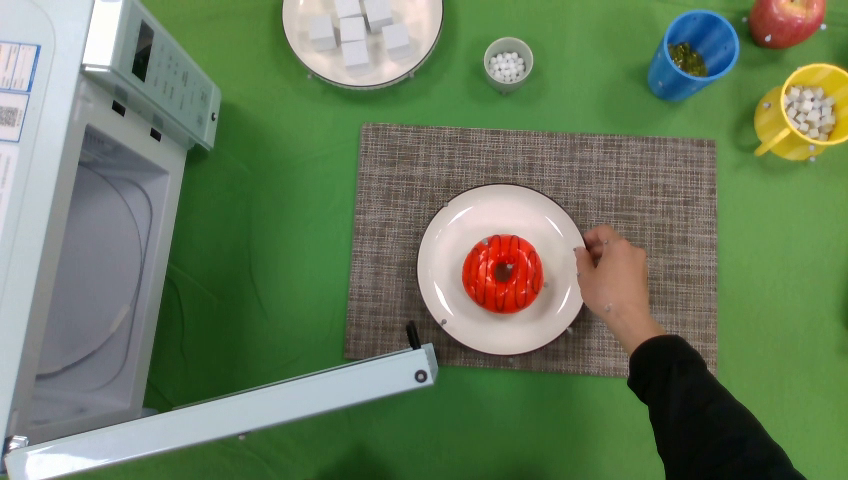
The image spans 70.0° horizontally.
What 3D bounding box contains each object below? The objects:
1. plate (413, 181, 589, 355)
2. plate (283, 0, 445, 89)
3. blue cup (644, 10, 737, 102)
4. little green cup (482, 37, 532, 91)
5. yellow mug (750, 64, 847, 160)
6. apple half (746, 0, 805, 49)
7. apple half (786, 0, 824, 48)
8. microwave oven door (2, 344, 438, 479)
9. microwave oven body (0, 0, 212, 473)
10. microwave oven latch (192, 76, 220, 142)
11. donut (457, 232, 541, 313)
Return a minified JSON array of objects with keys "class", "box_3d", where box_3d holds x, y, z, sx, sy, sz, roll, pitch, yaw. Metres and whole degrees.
[{"class":"plate","box_3d":[0.091,0.033,0.733,0.209,0.038,0.208,0,82,2]},{"class":"plate","box_3d":[-0.076,-0.292,0.788,0.207,0.039,0.207,0,82,2]},{"class":"blue cup","box_3d":[0.313,-0.214,0.735,0.092,0.100,0.092,0,83,1]},{"class":"little green cup","box_3d":[0.104,-0.221,0.773,0.061,0.039,0.061,0,81,2]},{"class":"yellow mug","box_3d":[0.453,-0.145,0.738,0.131,0.064,0.099,-38,82,-3]},{"class":"apple half","box_3d":[0.433,-0.281,0.755,0.053,0.075,0.080,9,85,6]},{"class":"apple half","box_3d":[0.472,-0.276,0.752,0.033,0.081,0.081,9,82,6]},{"class":"microwave oven door","box_3d":[-0.164,0.163,0.604,0.356,0.244,0.039,-14,80,-1]},{"class":"microwave oven body","box_3d":[-0.447,-0.022,0.642,0.326,0.261,0.440,6,83,2]},{"class":"microwave oven latch","box_3d":[-0.276,-0.164,0.755,0.030,0.029,0.079,8,83,2]},{"class":"donut","box_3d":[0.089,0.039,0.721,0.099,0.048,0.099,0,84,2]}]
